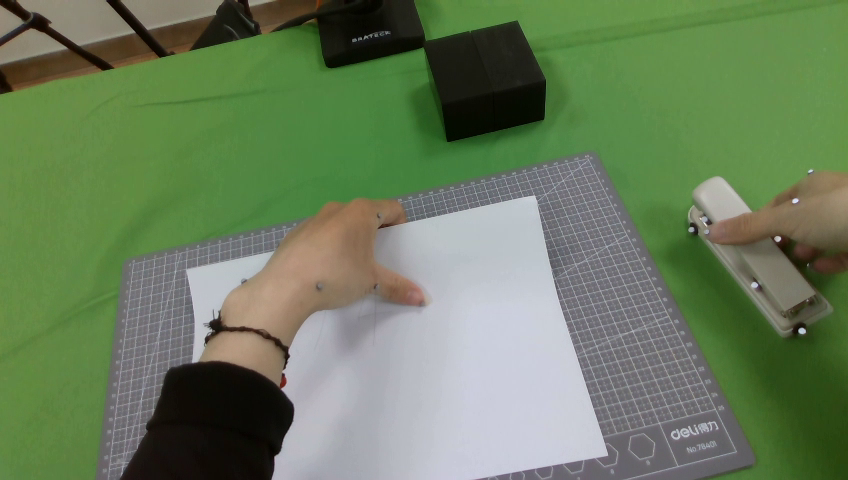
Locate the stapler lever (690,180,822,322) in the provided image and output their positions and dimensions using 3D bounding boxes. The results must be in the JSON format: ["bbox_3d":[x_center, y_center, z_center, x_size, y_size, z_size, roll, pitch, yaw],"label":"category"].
[{"bbox_3d":[0.240,0.003,0.446,0.027,0.040,0.116,-38,52,17],"label":"stapler lever"}]

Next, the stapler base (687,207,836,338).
[{"bbox_3d":[0.252,0.011,0.466,0.041,0.025,0.129,-38,54,17],"label":"stapler base"}]
